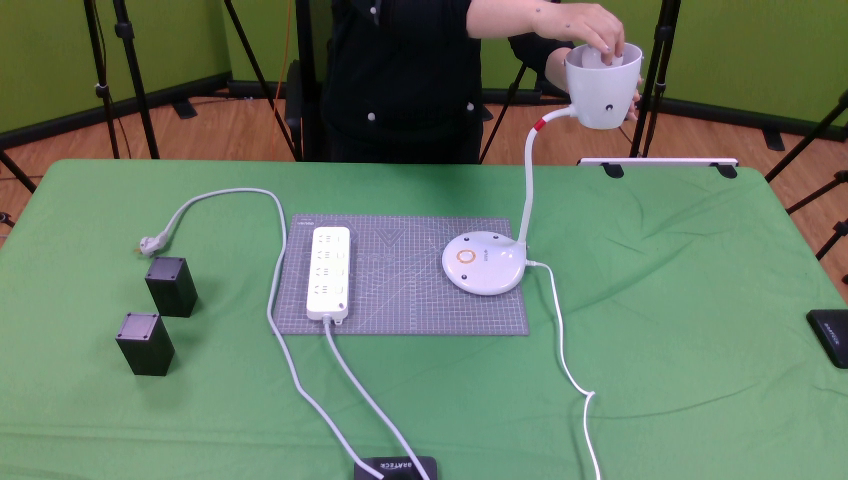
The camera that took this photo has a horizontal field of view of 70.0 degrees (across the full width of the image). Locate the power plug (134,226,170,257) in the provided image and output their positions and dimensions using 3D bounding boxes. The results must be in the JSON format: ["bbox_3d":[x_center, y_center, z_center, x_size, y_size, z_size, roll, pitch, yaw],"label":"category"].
[{"bbox_3d":[-0.515,0.006,1.153,0.052,0.035,0.072,-6,24,6],"label":"power plug"}]

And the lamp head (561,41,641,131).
[{"bbox_3d":[0.270,-0.231,0.935,0.112,0.123,0.112,-3,36,2],"label":"lamp head"}]

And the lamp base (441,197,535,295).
[{"bbox_3d":[0.129,-0.012,1.105,0.179,0.181,0.159,-1,46,-9],"label":"lamp base"}]

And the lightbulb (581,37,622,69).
[{"bbox_3d":[0.271,-0.255,0.925,0.059,0.108,0.059,-8,33,6],"label":"lightbulb"}]

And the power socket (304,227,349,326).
[{"bbox_3d":[-0.177,0.059,1.115,0.072,0.033,0.225,-1,46,-4],"label":"power socket"}]
